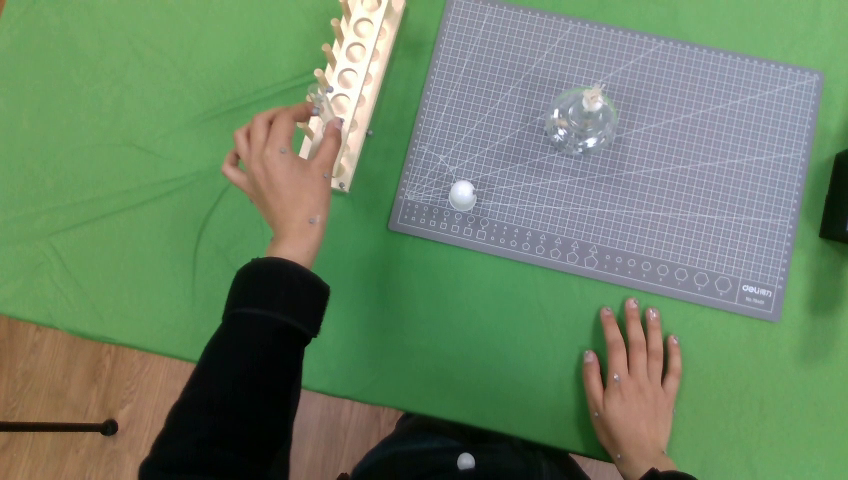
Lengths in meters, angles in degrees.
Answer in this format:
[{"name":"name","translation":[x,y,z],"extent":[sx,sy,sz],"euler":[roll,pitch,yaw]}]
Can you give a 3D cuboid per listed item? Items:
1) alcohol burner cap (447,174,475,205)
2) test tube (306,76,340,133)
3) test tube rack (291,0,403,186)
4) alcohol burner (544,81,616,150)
[{"name":"alcohol burner cap","translation":[0.041,-0.059,0.682],"extent":[0.034,0.048,0.034],"euler":[0,84,3]},{"name":"test tube","translation":[-0.097,-0.128,0.609],"extent":[0.017,0.150,0.017],"euler":[0,82,0]},{"name":"test tube rack","translation":[-0.091,-0.192,0.683],"extent":[0.066,0.085,0.242],"euler":[16,85,4]},{"name":"alcohol burner","translation":[0.170,-0.139,0.650],"extent":[0.078,0.119,0.077],"euler":[0,84,4]}]
